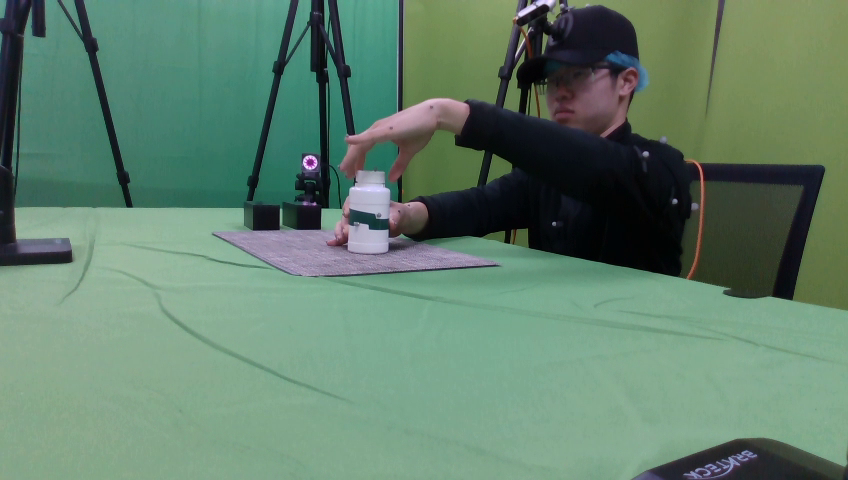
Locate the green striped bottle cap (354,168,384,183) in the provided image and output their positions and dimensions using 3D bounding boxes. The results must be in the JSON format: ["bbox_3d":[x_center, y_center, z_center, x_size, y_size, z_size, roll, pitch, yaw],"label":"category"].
[{"bbox_3d":[-0.082,-0.096,0.906,0.044,0.020,0.044,5,7,0],"label":"green striped bottle cap"}]

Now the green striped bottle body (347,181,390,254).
[{"bbox_3d":[-0.083,-0.042,0.913,0.063,0.119,0.063,3,8,0],"label":"green striped bottle body"}]
